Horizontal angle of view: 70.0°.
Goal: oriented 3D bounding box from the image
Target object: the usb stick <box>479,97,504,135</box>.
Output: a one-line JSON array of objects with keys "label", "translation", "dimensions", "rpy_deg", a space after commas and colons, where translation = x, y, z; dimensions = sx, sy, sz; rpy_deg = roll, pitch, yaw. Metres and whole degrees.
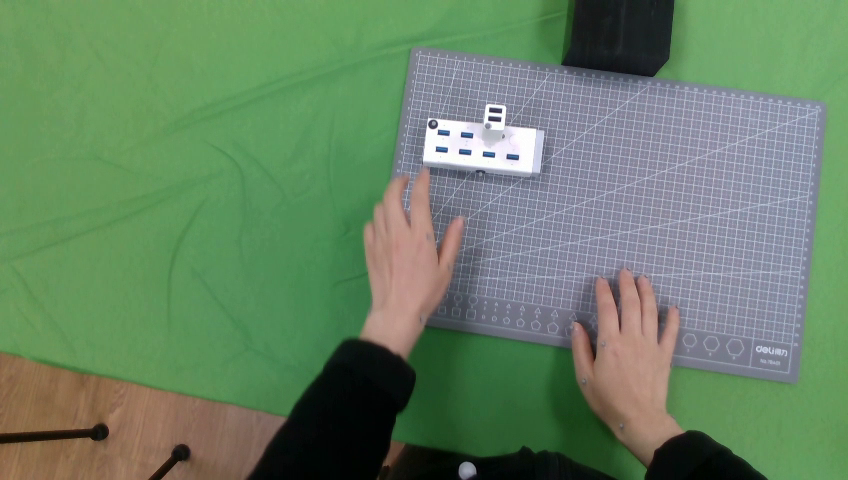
[{"label": "usb stick", "translation": [0.067, -0.122, 0.611], "dimensions": [0.021, 0.059, 0.027], "rpy_deg": [5, 83, 3]}]

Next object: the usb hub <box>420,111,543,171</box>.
[{"label": "usb hub", "translation": [0.060, -0.105, 0.643], "dimensions": [0.125, 0.025, 0.049], "rpy_deg": [7, 87, 2]}]
